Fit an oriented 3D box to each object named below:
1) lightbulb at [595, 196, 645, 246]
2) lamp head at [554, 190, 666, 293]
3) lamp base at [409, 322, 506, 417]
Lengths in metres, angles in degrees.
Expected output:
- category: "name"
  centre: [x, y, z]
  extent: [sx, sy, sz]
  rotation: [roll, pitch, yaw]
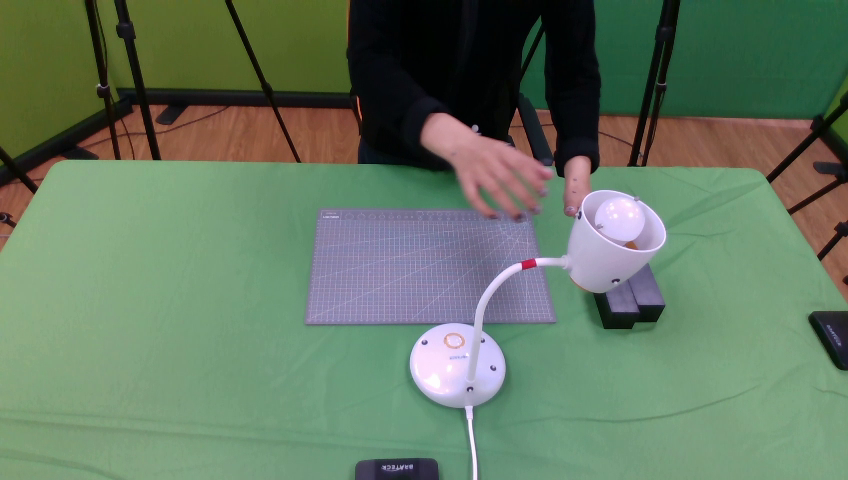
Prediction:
- category: "lightbulb"
  centre: [0.243, -0.008, 0.783]
  extent: [0.059, 0.108, 0.059]
  rotation: [9, 40, -7]
- category: "lamp head"
  centre: [0.234, 0.012, 0.796]
  extent: [0.113, 0.123, 0.111]
  rotation: [13, 43, -13]
- category: "lamp base"
  centre: [0.063, 0.160, 0.941]
  extent: [0.161, 0.181, 0.178]
  rotation: [-10, 51, -13]
